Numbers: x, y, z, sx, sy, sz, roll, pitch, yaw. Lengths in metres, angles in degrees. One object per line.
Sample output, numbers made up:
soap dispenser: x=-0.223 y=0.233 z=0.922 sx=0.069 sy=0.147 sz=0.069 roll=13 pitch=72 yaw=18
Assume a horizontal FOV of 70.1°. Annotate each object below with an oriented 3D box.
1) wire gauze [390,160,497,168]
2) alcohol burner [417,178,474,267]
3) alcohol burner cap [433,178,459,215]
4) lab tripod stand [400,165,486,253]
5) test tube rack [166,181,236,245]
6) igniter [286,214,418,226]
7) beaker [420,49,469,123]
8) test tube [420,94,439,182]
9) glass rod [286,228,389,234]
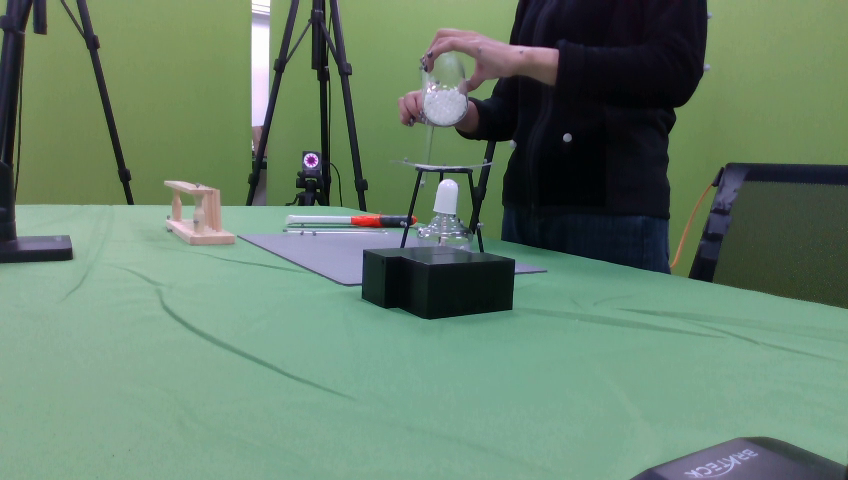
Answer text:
wire gauze: x=0.027 y=-0.115 z=0.919 sx=0.122 sy=0.011 sz=0.124 roll=-4 pitch=10 yaw=-34
alcohol burner: x=0.029 y=-0.024 z=0.810 sx=0.078 sy=0.119 sz=0.078 roll=1 pitch=8 yaw=0
alcohol burner cap: x=0.031 y=-0.059 z=0.806 sx=0.034 sy=0.048 sz=0.034 roll=8 pitch=10 yaw=-1
lab tripod stand: x=0.027 y=-0.049 z=0.930 sx=0.148 sy=0.131 sz=0.148 roll=2 pitch=9 yaw=0
test tube rack: x=-0.383 y=-0.051 z=1.024 sx=0.067 sy=0.085 sz=0.241 roll=-2 pitch=9 yaw=-31
igniter: x=-0.146 y=-0.043 z=1.263 sx=0.278 sy=0.025 sz=0.057 roll=-1 pitch=-2 yaw=-24
beaker: x=0.031 y=-0.232 z=0.930 sx=0.074 sy=0.084 sz=0.100 roll=14 pitch=43 yaw=-15
test tube: x=0.007 y=-0.169 z=1.016 sx=0.017 sy=0.150 sz=0.017 roll=7 pitch=24 yaw=-3
glass rod: x=-0.154 y=-0.016 z=1.101 sx=0.201 sy=0.008 sz=0.008 roll=1 pitch=6 yaw=-31
